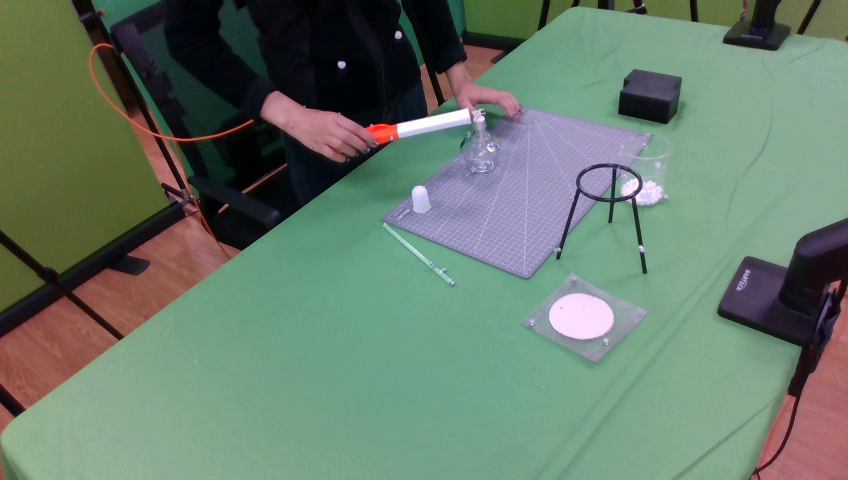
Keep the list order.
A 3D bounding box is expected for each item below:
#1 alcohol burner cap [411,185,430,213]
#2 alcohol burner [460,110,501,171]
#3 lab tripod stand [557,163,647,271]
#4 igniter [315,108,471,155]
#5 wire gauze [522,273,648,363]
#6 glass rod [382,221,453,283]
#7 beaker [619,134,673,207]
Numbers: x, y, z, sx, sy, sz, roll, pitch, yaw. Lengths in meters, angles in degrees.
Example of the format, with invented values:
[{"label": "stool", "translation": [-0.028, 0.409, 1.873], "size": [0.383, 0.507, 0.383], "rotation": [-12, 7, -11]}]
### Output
[{"label": "alcohol burner cap", "translation": [-0.008, -0.074, 1.050], "size": [0.034, 0.048, 0.033], "rotation": [-5, 39, 4]}, {"label": "alcohol burner", "translation": [0.103, -0.186, 1.105], "size": [0.078, 0.119, 0.077], "rotation": [-4, 42, 4]}, {"label": "lab tripod stand", "translation": [0.271, -0.034, 0.885], "size": [0.148, 0.132, 0.147], "rotation": [-4, 40, 4]}, {"label": "igniter", "translation": [-0.057, -0.188, 1.048], "size": [0.276, 0.025, 0.057], "rotation": [-11, 42, 6]}, {"label": "wire gauze", "translation": [0.220, 0.105, 0.828], "size": [0.125, 0.011, 0.120], "rotation": [-35, 47, -30]}, {"label": "glass rod", "translation": [-0.014, 0.016, 0.976], "size": [0.008, 0.008, 0.198], "rotation": [-30, 44, -22]}, {"label": "beaker", "translation": [0.357, -0.111, 0.986], "size": [0.084, 0.101, 0.073], "rotation": [-10, 40, 1]}]
